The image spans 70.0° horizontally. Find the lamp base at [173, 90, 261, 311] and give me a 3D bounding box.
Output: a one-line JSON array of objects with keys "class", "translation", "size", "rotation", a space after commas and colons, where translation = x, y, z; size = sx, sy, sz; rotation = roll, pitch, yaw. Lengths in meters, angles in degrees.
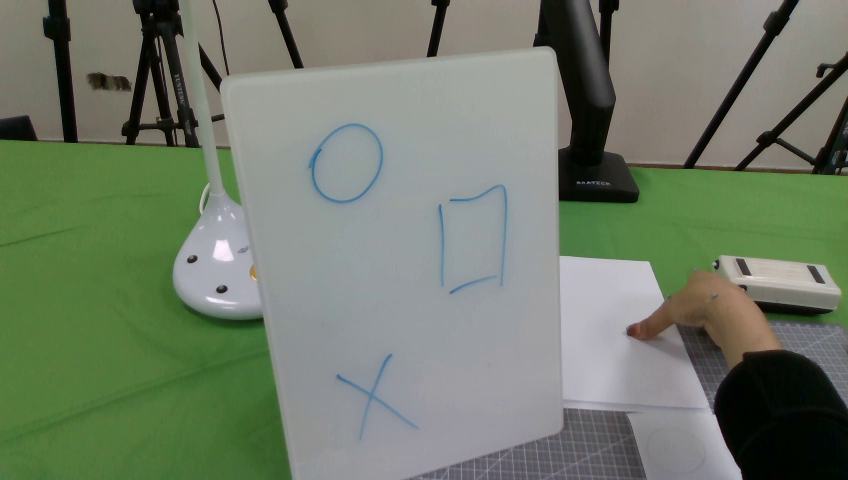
[{"class": "lamp base", "translation": [-0.189, -0.047, 0.605], "size": [0.177, 0.182, 0.161], "rotation": [29, 44, 35]}]

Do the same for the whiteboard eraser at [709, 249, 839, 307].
[{"class": "whiteboard eraser", "translation": [0.364, 0.041, 0.636], "size": [0.112, 0.042, 0.055], "rotation": [6, 37, 5]}]

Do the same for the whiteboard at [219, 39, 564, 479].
[{"class": "whiteboard", "translation": [-0.021, 0.012, 0.479], "size": [0.218, 0.307, 0.142], "rotation": [-11, 19, -15]}]
